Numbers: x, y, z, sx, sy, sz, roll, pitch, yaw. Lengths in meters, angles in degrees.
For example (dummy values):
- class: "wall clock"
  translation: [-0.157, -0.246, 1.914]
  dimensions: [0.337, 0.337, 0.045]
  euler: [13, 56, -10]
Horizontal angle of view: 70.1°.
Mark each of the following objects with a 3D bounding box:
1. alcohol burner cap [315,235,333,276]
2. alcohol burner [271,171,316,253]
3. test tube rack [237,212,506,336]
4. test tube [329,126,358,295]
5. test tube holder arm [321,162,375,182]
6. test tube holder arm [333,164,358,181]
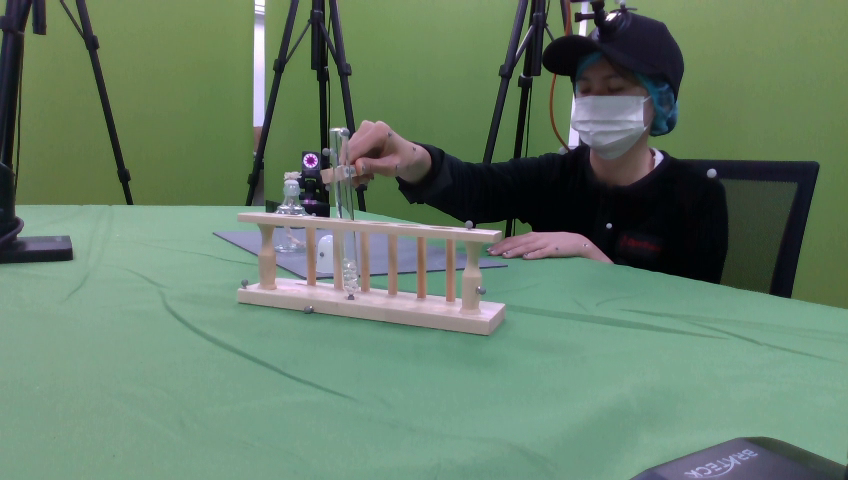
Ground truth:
- class: "alcohol burner cap"
  translation: [-0.116, 0.018, 0.728]
  dimensions: [0.034, 0.048, 0.034]
  euler: [3, 6, 0]
- class: "alcohol burner"
  translation: [-0.196, -0.041, 0.884]
  dimensions: [0.078, 0.119, 0.078]
  euler: [3, 5, 0]
- class: "test tube rack"
  translation: [-0.049, 0.024, 0.552]
  dimensions: [0.242, 0.085, 0.067]
  euler: [5, 8, 18]
- class: "test tube"
  translation: [-0.071, -0.025, 0.534]
  dimensions: [0.017, 0.150, 0.017]
  euler: [-3, 10, 1]
- class: "test tube holder arm"
  translation: [-0.081, -0.077, 0.671]
  dimensions: [0.013, 0.015, 0.178]
  euler: [-5, 8, 9]
- class: "test tube holder arm"
  translation: [-0.080, -0.071, 0.626]
  dimensions: [0.010, 0.015, 0.088]
  euler: [-6, 8, 4]
